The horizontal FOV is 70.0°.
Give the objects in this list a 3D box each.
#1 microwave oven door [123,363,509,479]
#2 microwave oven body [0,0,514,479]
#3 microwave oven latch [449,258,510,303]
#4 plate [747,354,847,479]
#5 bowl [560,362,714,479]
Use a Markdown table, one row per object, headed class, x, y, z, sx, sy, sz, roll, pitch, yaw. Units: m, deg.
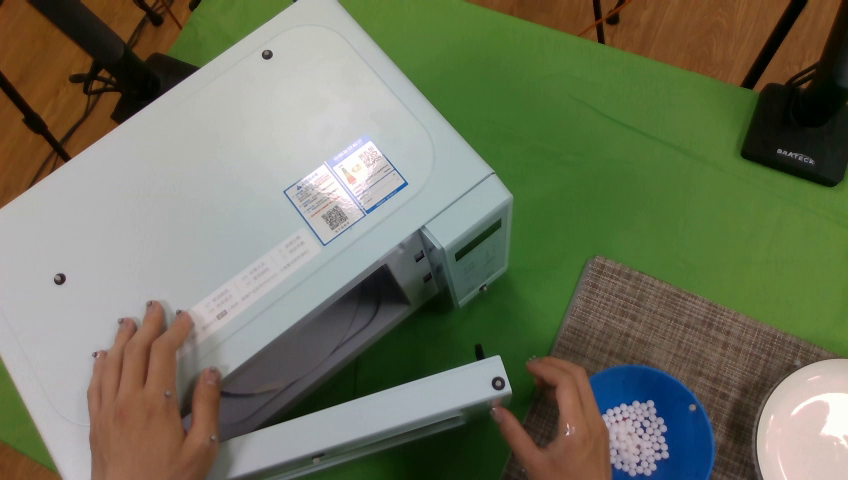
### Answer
| class | x | y | z | sx | sy | sz | roll | pitch | yaw |
| --- | --- | --- | --- | --- | --- | --- | --- | --- | --- |
| microwave oven door | -0.093 | 0.191 | 0.584 | 0.356 | 0.245 | 0.039 | -17 | 71 | 0 |
| microwave oven body | -0.174 | 0.010 | 0.657 | 0.441 | 0.262 | 0.324 | -38 | 73 | -6 |
| microwave oven latch | 0.066 | 0.041 | 0.724 | 0.079 | 0.030 | 0.030 | -36 | 72 | -5 |
| plate | 0.447 | 0.227 | 0.638 | 0.207 | 0.039 | 0.206 | -2 | 72 | 5 |
| bowl | 0.218 | 0.210 | 0.646 | 0.151 | 0.077 | 0.150 | -2 | 72 | 6 |
